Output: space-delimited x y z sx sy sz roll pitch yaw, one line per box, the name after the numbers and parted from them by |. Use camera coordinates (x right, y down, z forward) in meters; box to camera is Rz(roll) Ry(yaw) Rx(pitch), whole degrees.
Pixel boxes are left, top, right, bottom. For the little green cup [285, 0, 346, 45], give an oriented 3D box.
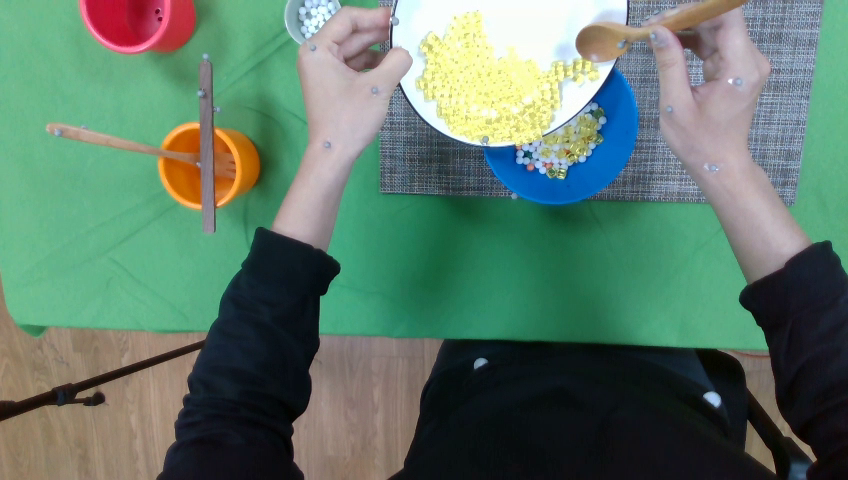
-0.112 -0.236 0.641 0.061 0.038 0.062 1 103 7 | little green cup

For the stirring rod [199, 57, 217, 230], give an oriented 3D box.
-0.223 -0.097 0.625 0.014 0.006 0.176 4 103 4 | stirring rod

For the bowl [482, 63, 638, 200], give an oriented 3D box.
0.132 -0.120 0.617 0.151 0.076 0.152 1 104 5 | bowl

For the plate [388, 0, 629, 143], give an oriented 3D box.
0.071 -0.185 0.524 0.209 0.037 0.211 -7 129 -8 | plate

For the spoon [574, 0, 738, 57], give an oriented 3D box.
0.170 -0.164 0.459 0.042 0.192 0.021 35 91 -17 | spoon

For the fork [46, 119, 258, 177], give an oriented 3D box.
-0.274 -0.096 0.633 0.209 0.018 0.028 9 111 -40 | fork
